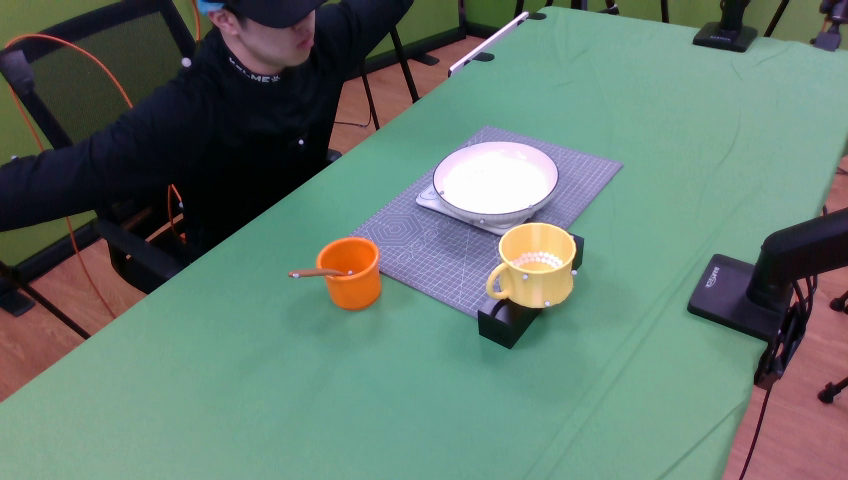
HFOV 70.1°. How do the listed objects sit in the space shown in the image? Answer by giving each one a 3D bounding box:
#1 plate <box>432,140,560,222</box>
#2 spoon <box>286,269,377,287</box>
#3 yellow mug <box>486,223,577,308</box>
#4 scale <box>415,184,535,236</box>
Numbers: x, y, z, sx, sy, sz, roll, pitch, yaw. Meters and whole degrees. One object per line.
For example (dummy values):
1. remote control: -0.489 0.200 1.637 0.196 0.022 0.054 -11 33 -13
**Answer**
1. plate: 0.118 -0.094 0.999 0.209 0.038 0.208 -4 41 4
2. spoon: -0.125 0.049 0.831 0.041 0.195 0.021 22 92 28
3. yellow mug: 0.136 0.038 0.793 0.131 0.064 0.099 -25 43 -19
4. scale: 0.099 -0.080 1.035 0.199 0.032 0.149 23 48 31
